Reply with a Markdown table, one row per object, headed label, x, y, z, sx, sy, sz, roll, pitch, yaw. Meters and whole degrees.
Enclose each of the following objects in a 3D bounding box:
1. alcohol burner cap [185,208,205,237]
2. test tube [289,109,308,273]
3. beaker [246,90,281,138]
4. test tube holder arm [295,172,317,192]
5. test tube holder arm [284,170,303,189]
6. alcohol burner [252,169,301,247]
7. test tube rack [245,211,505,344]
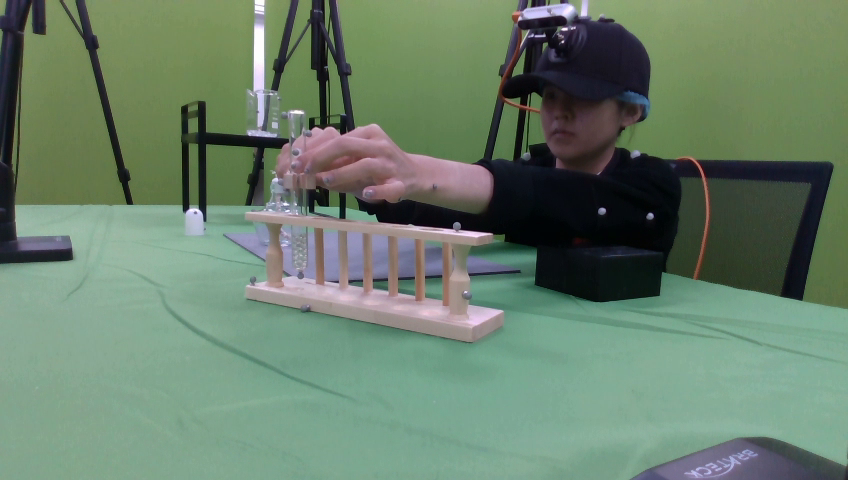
| label | x | y | z | sx | sy | sz | roll | pitch | yaw |
| --- | --- | --- | --- | --- | --- | --- | --- | --- | --- |
| alcohol burner cap | -0.392 | -0.031 | 1.032 | 0.034 | 0.048 | 0.034 | 3 | 8 | 0 |
| test tube | -0.116 | -0.044 | 0.559 | 0.017 | 0.150 | 0.017 | 1 | 7 | 0 |
| beaker | -0.354 | -0.275 | 1.322 | 0.074 | 0.100 | 0.084 | 4 | 8 | 12 |
| test tube holder arm | -0.117 | -0.057 | 0.585 | 0.010 | 0.015 | 0.087 | 7 | 7 | -23 |
| test tube holder arm | -0.134 | -0.064 | 0.626 | 0.013 | 0.015 | 0.178 | 9 | 6 | -12 |
| alcohol burner | -0.228 | -0.050 | 0.937 | 0.078 | 0.119 | 0.078 | 1 | 7 | 0 |
| test tube rack | -0.049 | 0.024 | 0.547 | 0.241 | 0.085 | 0.067 | 7 | 8 | 29 |
